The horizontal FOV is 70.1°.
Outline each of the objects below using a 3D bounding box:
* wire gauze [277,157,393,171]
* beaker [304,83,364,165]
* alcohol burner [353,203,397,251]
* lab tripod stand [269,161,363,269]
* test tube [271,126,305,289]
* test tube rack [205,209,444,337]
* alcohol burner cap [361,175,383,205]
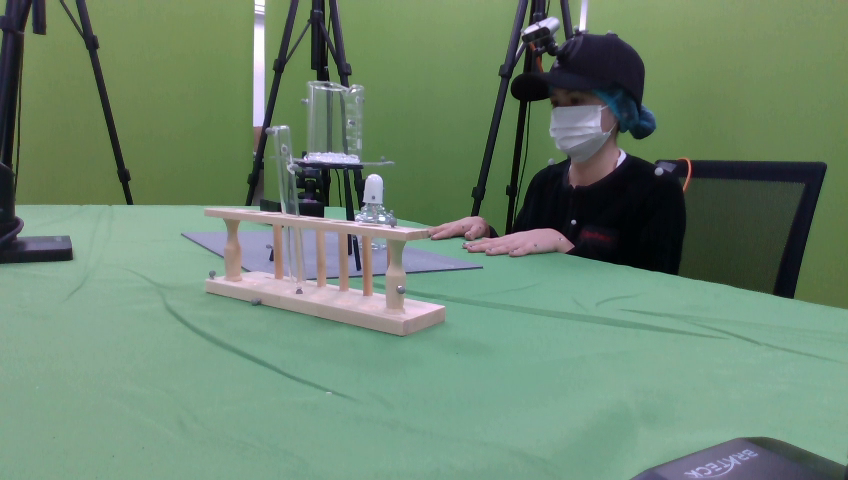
[{"bbox_3d":[-0.122,-0.100,0.786,0.122,0.011,0.124,-5,14,-38],"label":"wire gauze"},{"bbox_3d":[-0.115,-0.148,0.779,0.074,0.100,0.083,-2,10,-30],"label":"beaker"},{"bbox_3d":[-0.082,-0.043,0.950,0.078,0.119,0.078,1,8,0],"label":"alcohol burner"},{"bbox_3d":[-0.125,-0.036,0.794,0.148,0.131,0.148,5,7,0],"label":"lab tripod stand"},{"bbox_3d":[-0.124,-0.028,0.554,0.017,0.150,0.017,-5,7,1],"label":"test tube"},{"bbox_3d":[-0.100,0.021,0.565,0.241,0.085,0.067,7,8,32],"label":"test tube rack"},{"bbox_3d":[-0.080,-0.078,0.944,0.034,0.048,0.034,5,7,0],"label":"alcohol burner cap"}]
